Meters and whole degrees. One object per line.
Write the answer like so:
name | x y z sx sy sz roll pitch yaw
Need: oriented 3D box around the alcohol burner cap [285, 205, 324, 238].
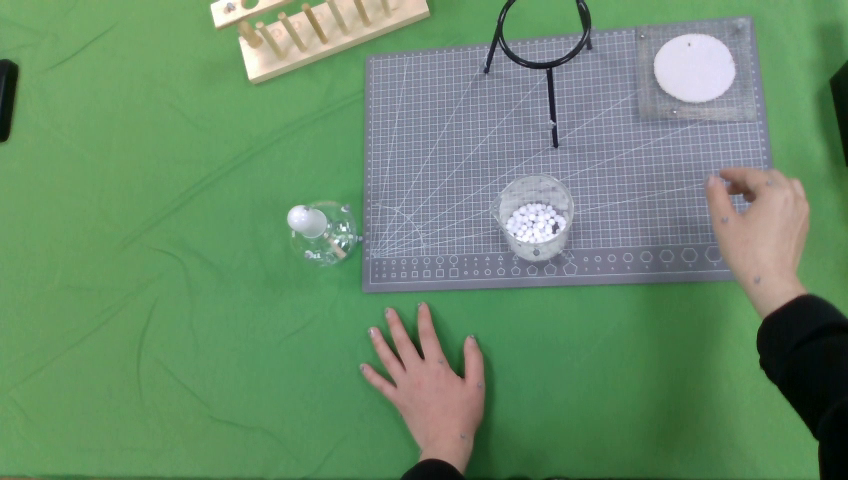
alcohol burner cap | -0.127 -0.021 0.631 0.034 0.048 0.033 -1 81 10

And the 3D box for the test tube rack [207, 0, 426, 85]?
test tube rack | -0.127 -0.278 0.738 0.242 0.086 0.066 -20 75 6

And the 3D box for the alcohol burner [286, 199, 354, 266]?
alcohol burner | -0.120 -0.013 0.666 0.078 0.120 0.077 -2 75 9

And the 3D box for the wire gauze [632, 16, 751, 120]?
wire gauze | 0.298 -0.192 0.677 0.125 0.011 0.121 2 78 8

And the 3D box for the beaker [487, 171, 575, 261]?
beaker | 0.111 -0.020 0.628 0.084 0.101 0.073 3 78 12

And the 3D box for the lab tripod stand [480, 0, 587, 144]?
lab tripod stand | 0.124 -0.192 0.644 0.148 0.132 0.147 -2 79 9
